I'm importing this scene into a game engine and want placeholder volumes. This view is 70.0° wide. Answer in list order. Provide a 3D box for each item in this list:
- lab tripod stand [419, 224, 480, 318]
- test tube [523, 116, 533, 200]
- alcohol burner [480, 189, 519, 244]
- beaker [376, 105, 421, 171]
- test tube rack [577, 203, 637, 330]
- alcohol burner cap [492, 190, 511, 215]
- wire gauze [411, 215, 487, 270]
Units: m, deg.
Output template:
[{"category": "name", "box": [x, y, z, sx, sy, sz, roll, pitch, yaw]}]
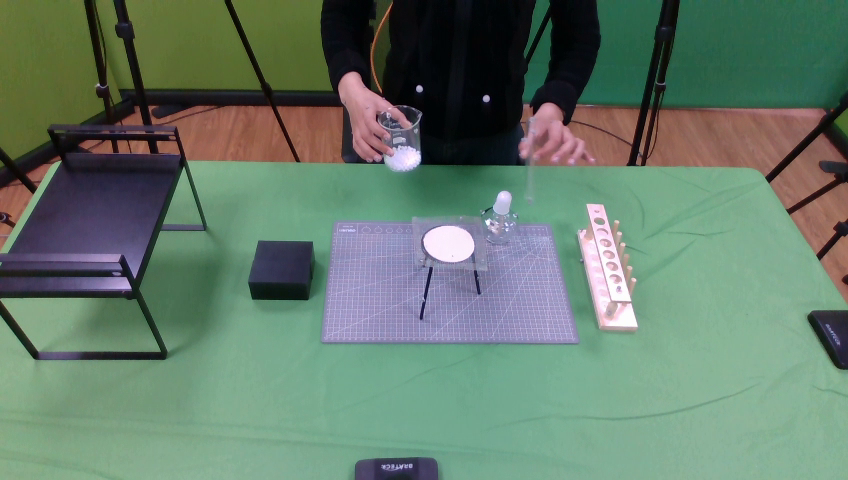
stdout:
[{"category": "lab tripod stand", "box": [0.034, 0.052, 1.070, 0.148, 0.132, 0.147, 3, 48, -3]}, {"category": "test tube", "box": [0.177, -0.137, 1.032, 0.017, 0.151, 0.017, -3, 28, 2]}, {"category": "alcohol burner", "box": [0.150, -0.051, 1.191, 0.078, 0.120, 0.077, 1, 47, -1]}, {"category": "beaker", "box": [-0.040, -0.181, 1.084, 0.084, 0.101, 0.073, -24, 50, -18]}, {"category": "test tube rack", "box": [0.348, 0.044, 1.139, 0.067, 0.085, 0.241, 2, 46, -2]}, {"category": "alcohol burner cap", "box": [0.151, -0.075, 1.165, 0.034, 0.048, 0.033, 5, 49, -6]}, {"category": "wire gauze", "box": [0.041, 0.002, 1.026, 0.125, 0.011, 0.120, 1, 46, -3]}]
